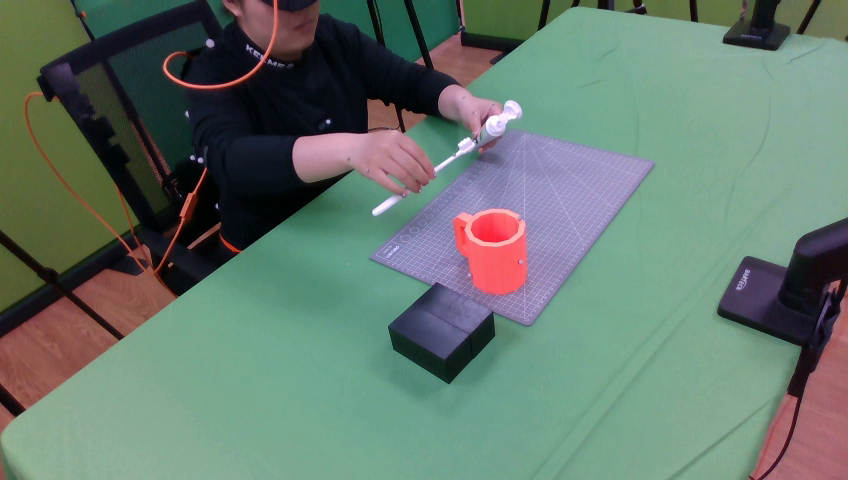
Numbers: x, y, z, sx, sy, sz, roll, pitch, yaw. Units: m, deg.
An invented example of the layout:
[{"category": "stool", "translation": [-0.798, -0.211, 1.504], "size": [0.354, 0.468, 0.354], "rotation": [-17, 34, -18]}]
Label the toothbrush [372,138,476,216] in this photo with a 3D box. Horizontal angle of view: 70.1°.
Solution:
[{"category": "toothbrush", "translation": [-0.002, -0.091, 0.880], "size": [0.182, 0.017, 0.014], "rotation": [-36, 45, 2]}]

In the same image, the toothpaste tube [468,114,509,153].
[{"category": "toothpaste tube", "translation": [0.112, -0.193, 1.076], "size": [0.034, 0.164, 0.055], "rotation": [33, 82, -8]}]

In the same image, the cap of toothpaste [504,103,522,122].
[{"category": "cap of toothpaste", "translation": [0.145, -0.208, 0.993], "size": [0.011, 0.037, 0.037], "rotation": [-36, 47, -24]}]

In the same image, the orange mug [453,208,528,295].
[{"category": "orange mug", "translation": [0.095, 0.009, 0.894], "size": [0.125, 0.101, 0.084], "rotation": [32, 55, 33]}]
